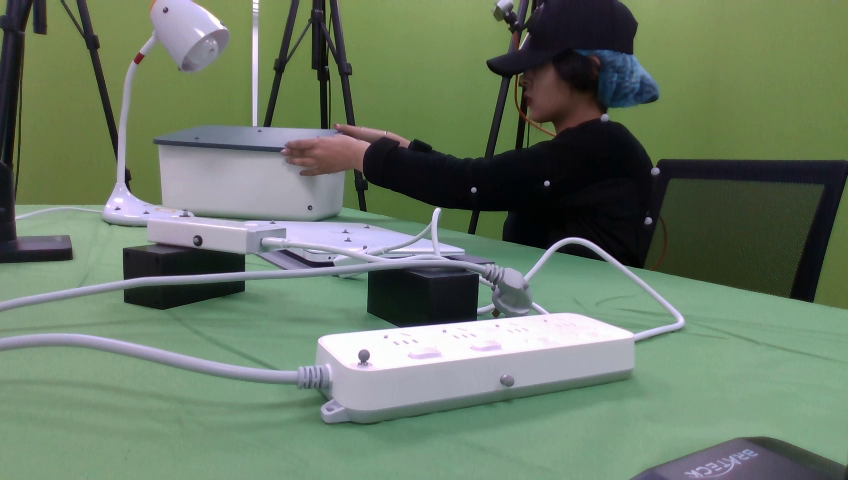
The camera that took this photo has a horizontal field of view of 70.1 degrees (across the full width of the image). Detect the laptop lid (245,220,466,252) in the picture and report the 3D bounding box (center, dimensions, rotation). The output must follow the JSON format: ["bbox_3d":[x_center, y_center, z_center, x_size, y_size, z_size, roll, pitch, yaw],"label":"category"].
[{"bbox_3d":[-0.123,-0.009,0.945,0.243,0.013,0.355,1,7,-29],"label":"laptop lid"}]

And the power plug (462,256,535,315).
[{"bbox_3d":[0.064,0.039,0.530,0.072,0.052,0.035,31,43,7],"label":"power plug"}]

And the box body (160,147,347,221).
[{"bbox_3d":[-0.384,-0.137,1.407,0.364,0.160,0.254,3,8,7],"label":"box body"}]

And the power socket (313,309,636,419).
[{"bbox_3d":[0.039,0.072,0.385,0.228,0.032,0.072,-2,7,-28],"label":"power socket"}]

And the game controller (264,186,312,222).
[{"bbox_3d":[-0.307,-0.090,1.398,0.097,0.051,0.155,31,6,-3],"label":"game controller"}]

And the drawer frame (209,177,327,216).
[{"bbox_3d":[-0.350,-0.103,1.393,0.213,0.082,0.201,1,7,3],"label":"drawer frame"}]

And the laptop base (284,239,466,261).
[{"bbox_3d":[-0.125,0.002,0.945,0.237,0.023,0.352,2,6,-31],"label":"laptop base"}]

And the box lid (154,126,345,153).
[{"bbox_3d":[-0.381,-0.230,1.377,0.371,0.015,0.263,3,19,4],"label":"box lid"}]

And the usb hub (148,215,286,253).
[{"bbox_3d":[-0.197,-0.006,0.575,0.125,0.025,0.050,6,6,22],"label":"usb hub"}]

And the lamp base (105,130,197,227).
[{"bbox_3d":[-0.532,-0.120,1.153,0.179,0.180,0.161,1,7,8],"label":"lamp base"}]

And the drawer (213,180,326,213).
[{"bbox_3d":[-0.349,-0.104,1.396,0.212,0.073,0.194,2,6,4],"label":"drawer"}]

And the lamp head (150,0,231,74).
[{"bbox_3d":[-0.432,-0.375,1.086,0.123,0.112,0.112,42,8,-2],"label":"lamp head"}]

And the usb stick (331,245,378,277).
[{"bbox_3d":[-0.085,0.026,0.702,0.059,0.027,0.021,-17,20,27],"label":"usb stick"}]
